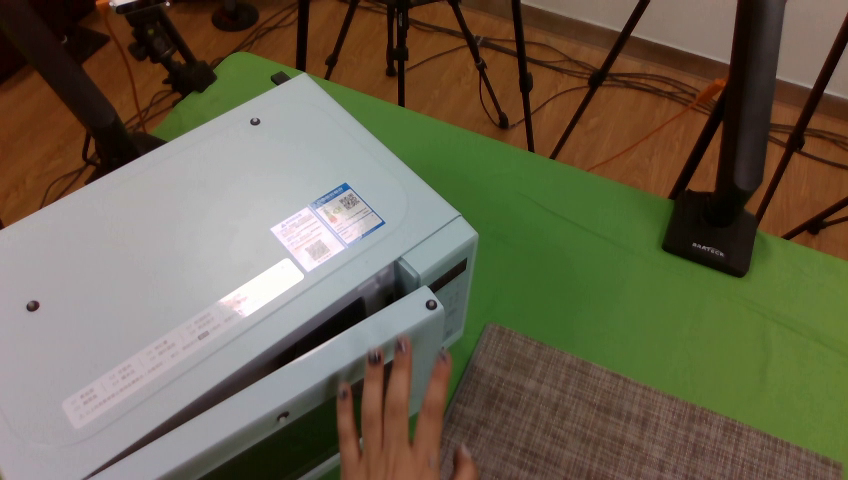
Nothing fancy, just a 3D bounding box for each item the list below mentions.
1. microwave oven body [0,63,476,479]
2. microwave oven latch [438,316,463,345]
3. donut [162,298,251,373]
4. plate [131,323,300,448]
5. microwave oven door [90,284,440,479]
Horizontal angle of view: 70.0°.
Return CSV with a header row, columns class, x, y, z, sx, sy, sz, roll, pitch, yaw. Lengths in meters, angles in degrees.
class,x,y,z,sx,sy,sz,roll,pitch,yaw
microwave oven body,-0.217,0.065,0.674,0.441,0.262,0.323,-36,65,-21
microwave oven latch,0.013,0.117,0.763,0.079,0.030,0.030,-35,65,-21
donut,-0.250,0.110,0.698,0.099,0.048,0.098,5,42,-4
plate,-0.238,0.143,0.675,0.209,0.038,0.207,-2,52,3
microwave oven door,-0.140,0.191,0.588,0.356,0.246,0.039,-29,61,-19
